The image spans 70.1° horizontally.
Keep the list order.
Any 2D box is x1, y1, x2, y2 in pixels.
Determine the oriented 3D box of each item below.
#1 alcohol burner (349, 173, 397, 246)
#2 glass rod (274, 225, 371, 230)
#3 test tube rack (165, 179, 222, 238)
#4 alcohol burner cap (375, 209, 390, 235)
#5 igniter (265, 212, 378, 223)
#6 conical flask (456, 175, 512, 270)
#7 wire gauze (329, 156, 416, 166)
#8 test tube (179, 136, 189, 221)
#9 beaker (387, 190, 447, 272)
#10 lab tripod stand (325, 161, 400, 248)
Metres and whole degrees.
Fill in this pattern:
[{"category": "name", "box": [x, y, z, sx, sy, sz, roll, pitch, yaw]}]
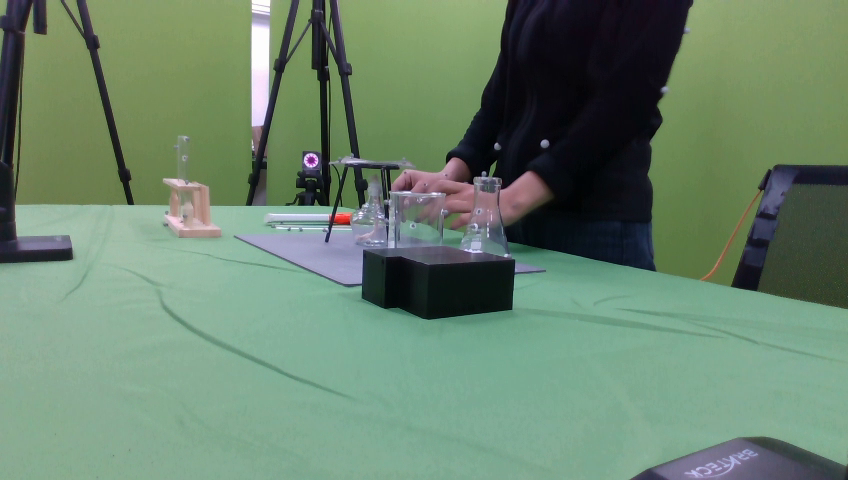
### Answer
[{"category": "alcohol burner", "box": [-0.081, -0.050, 0.982, 0.078, 0.119, 0.078, 4, 8, 0]}, {"category": "glass rod", "box": [-0.193, -0.024, 1.177, 0.201, 0.008, 0.008, 1, 7, -31]}, {"category": "test tube rack", "box": [-0.423, -0.062, 1.098, 0.067, 0.085, 0.241, -2, 9, -28]}, {"category": "alcohol burner cap", "box": [-0.076, -0.035, 1.145, 0.034, 0.048, 0.034, 1, 7, 0]}, {"category": "igniter", "box": [-0.196, -0.048, 1.286, 0.278, 0.025, 0.057, -2, -2, -30]}, {"category": "conical flask", "box": [0.082, -0.025, 0.801, 0.075, 0.122, 0.075, 2, 7, 0]}, {"category": "wire gauze", "box": [-0.079, -0.126, 0.972, 0.121, 0.011, 0.125, 4, 8, 5]}, {"category": "test tube", "box": [-0.425, -0.108, 1.070, 0.017, 0.150, 0.017, 4, 9, 0]}, {"category": "beaker", "box": [-0.010, -0.013, 0.771, 0.074, 0.100, 0.084, 3, 7, 4]}, {"category": "lab tripod stand", "box": [-0.083, -0.060, 0.977, 0.148, 0.131, 0.148, 4, 8, 0]}]
